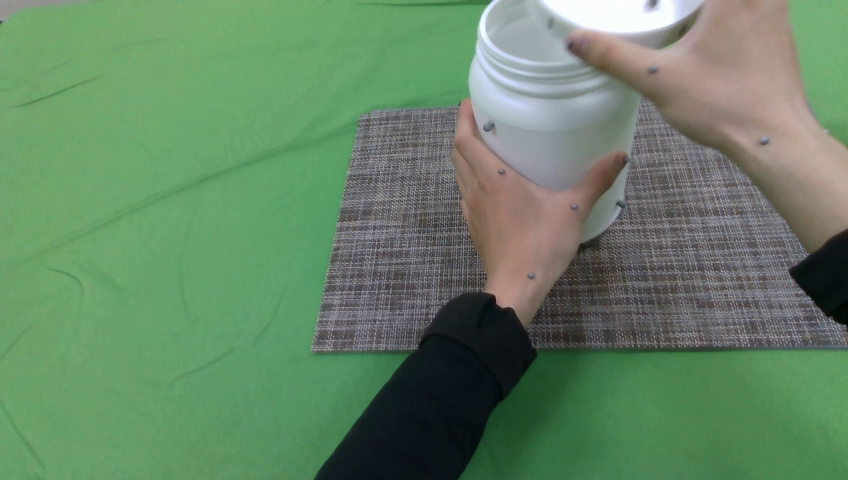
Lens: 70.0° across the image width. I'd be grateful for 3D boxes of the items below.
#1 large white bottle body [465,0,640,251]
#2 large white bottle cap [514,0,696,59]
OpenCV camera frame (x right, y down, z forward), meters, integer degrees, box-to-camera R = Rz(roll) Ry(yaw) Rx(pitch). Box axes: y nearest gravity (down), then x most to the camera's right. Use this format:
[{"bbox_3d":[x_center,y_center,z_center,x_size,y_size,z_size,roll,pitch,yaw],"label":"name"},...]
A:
[{"bbox_3d":[0.101,-0.094,0.493,0.130,0.186,0.129,-5,51,6],"label":"large white bottle body"},{"bbox_3d":[0.116,-0.163,0.388,0.115,0.018,0.114,-2,61,5],"label":"large white bottle cap"}]
